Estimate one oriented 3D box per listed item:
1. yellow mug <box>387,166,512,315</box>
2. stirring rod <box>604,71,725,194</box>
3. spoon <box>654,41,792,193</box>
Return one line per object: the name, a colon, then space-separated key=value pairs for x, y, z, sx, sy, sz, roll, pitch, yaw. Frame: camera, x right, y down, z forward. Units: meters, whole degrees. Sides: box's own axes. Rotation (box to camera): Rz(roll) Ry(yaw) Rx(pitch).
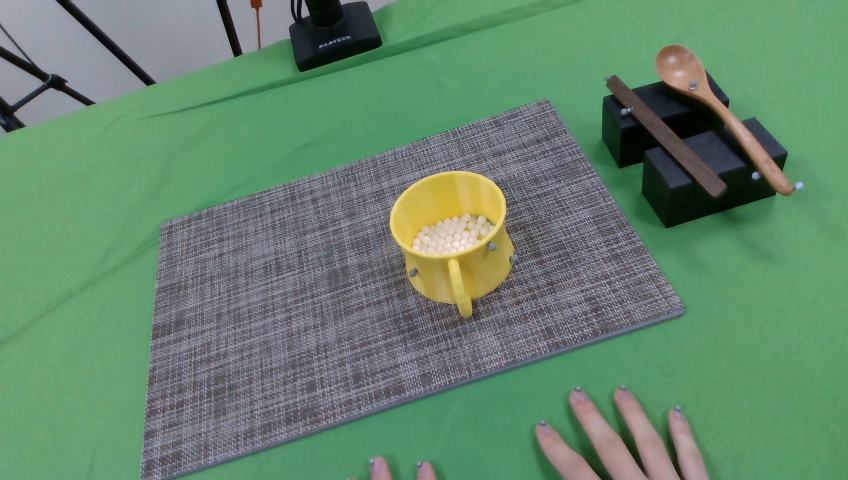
yellow mug: x=0.026 y=0.005 z=0.518 sx=0.100 sy=0.064 sz=0.129 roll=-12 pitch=50 yaw=6
stirring rod: x=0.205 y=-0.100 z=0.529 sx=0.014 sy=0.006 sz=0.174 roll=-48 pitch=44 yaw=25
spoon: x=0.255 y=-0.112 z=0.523 sx=0.041 sy=0.022 sz=0.191 roll=-17 pitch=51 yaw=-1
